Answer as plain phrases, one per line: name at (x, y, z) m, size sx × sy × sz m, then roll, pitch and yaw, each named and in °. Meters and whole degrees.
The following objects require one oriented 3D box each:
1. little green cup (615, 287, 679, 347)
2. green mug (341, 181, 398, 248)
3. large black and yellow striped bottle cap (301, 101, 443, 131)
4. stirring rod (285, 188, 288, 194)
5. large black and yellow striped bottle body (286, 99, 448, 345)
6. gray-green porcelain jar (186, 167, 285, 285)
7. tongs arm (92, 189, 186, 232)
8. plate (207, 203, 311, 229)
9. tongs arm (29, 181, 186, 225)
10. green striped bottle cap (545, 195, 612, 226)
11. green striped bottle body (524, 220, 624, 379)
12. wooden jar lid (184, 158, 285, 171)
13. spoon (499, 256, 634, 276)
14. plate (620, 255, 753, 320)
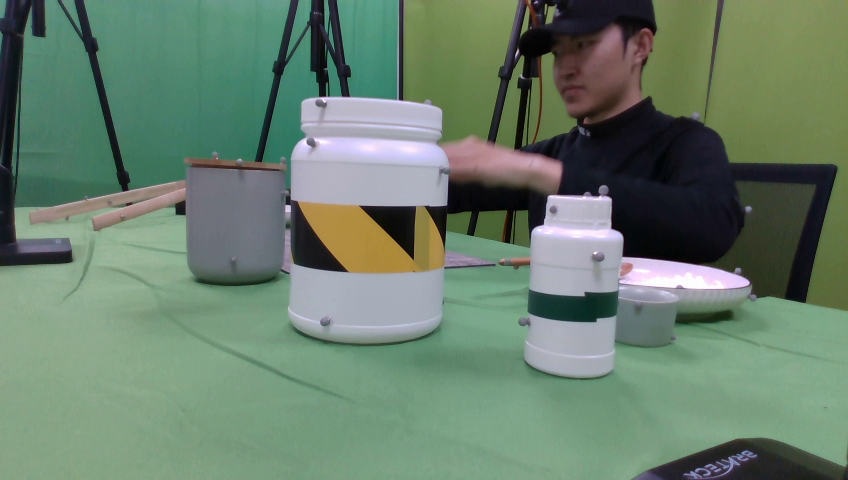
little green cup at (0.180, 0.064, 0.506) m, size 0.061 × 0.038 × 0.061 m, roll 1°, pitch 8°, yaw 0°
green mug at (-0.089, -0.044, 0.997) m, size 0.093 × 0.105 × 0.125 m, roll 1°, pitch 7°, yaw -8°
large black and yellow striped bottle cap at (-0.042, -0.100, 0.491) m, size 0.115 × 0.019 × 0.115 m, roll 1°, pitch 8°, yaw 0°
stirring rod at (-0.354, -0.122, 1.518) m, size 0.006 × 0.014 × 0.176 m, roll 2°, pitch 6°, yaw 1°
large black and yellow striped bottle body at (-0.047, -0.018, 0.501) m, size 0.131 × 0.184 × 0.130 m, roll 2°, pitch 7°, yaw 0°
gray-green porcelain jar at (-0.212, -0.017, 0.682) m, size 0.106 × 0.126 × 0.106 m, roll 2°, pitch 7°, yaw 0°
tongs arm at (-0.534, -0.076, 1.222) m, size 0.028 × 0.028 × 0.388 m, roll -2°, pitch 15°, yaw 12°
plate at (-0.342, -0.050, 1.259) m, size 0.208 × 0.039 × 0.207 m, roll 3°, pitch 7°, yaw 0°
tongs arm at (-0.609, -0.083, 1.245) m, size 0.050 × 0.026 × 0.386 m, roll 5°, pitch 16°, yaw 23°
green striped bottle cap at (0.106, -0.020, 0.414) m, size 0.044 × 0.020 × 0.044 m, roll 2°, pitch 4°, yaw 0°
green striped bottle body at (0.104, 0.031, 0.422) m, size 0.063 × 0.119 × 0.063 m, roll 2°, pitch 7°, yaw 0°
wooden jar lid at (-0.210, -0.078, 0.674) m, size 0.108 × 0.020 × 0.108 m, roll 5°, pitch 6°, yaw 0°
spoon at (0.162, 0.027, 0.679) m, size 0.195 × 0.021 × 0.041 m, roll 8°, pitch 2°, yaw -30°
plate at (0.234, 0.049, 0.651) m, size 0.209 × 0.038 × 0.209 m, roll 2°, pitch 7°, yaw 0°
